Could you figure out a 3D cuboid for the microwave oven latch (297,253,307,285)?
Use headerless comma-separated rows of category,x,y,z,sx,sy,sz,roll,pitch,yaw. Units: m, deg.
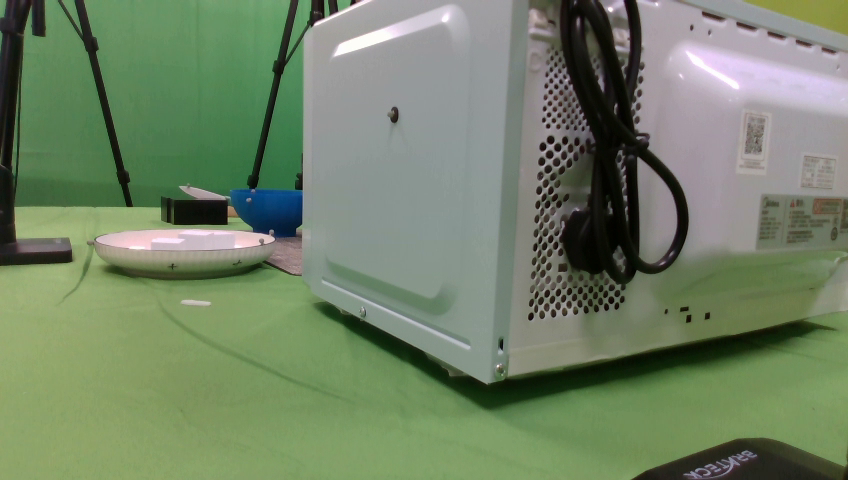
microwave oven latch,-0.082,0.027,0.582,0.079,0.029,0.030,-1,7,-33

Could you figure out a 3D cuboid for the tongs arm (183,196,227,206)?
tongs arm,-0.404,-0.081,1.479,0.385,0.026,0.050,3,8,-2

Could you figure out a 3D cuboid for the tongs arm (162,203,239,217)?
tongs arm,-0.396,-0.066,1.399,0.389,0.028,0.028,1,5,-15

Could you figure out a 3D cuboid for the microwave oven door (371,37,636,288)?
microwave oven door,0.109,-0.080,0.686,0.358,0.243,0.039,-2,9,-33

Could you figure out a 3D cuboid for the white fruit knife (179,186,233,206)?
white fruit knife,-0.413,-0.081,1.270,0.208,0.027,0.016,17,14,-41

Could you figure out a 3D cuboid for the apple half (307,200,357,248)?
apple half,-0.135,-0.024,0.941,0.053,0.074,0.081,13,9,39

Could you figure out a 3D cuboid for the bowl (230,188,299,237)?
bowl,-0.264,-0.048,1.065,0.151,0.077,0.151,3,8,0

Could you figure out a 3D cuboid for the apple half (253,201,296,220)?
apple half,-0.264,-0.053,1.067,0.081,0.033,0.081,1,8,0

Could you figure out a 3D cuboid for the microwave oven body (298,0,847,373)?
microwave oven body,0.151,-0.055,0.543,0.444,0.260,0.324,-1,7,-33

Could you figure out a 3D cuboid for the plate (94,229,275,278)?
plate,-0.291,0.016,0.750,0.208,0.039,0.207,2,7,0
